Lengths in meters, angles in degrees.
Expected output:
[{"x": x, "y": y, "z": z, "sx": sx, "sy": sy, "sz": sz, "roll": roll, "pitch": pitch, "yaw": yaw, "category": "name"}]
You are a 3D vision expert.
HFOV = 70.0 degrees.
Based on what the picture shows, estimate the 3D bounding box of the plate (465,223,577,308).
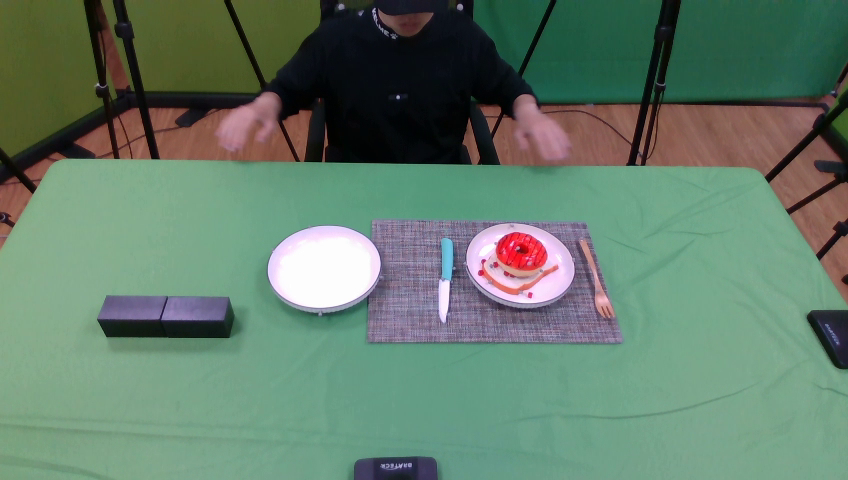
[{"x": 0.180, "y": 0.051, "z": 1.144, "sx": 0.209, "sy": 0.038, "sz": 0.208, "roll": 2, "pitch": 45, "yaw": -2, "category": "plate"}]

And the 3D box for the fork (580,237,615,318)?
[{"x": 0.325, "y": 0.067, "z": 1.150, "sx": 0.028, "sy": 0.019, "sz": 0.206, "roll": -6, "pitch": 48, "yaw": 1, "category": "fork"}]

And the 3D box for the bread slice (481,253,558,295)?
[{"x": 0.177, "y": 0.050, "z": 1.148, "sx": 0.131, "sy": 0.019, "sz": 0.104, "roll": -32, "pitch": 55, "yaw": -31, "category": "bread slice"}]

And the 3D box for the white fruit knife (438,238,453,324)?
[{"x": 0.040, "y": 0.073, "z": 1.131, "sx": 0.027, "sy": 0.016, "sz": 0.206, "roll": -17, "pitch": 44, "yaw": 21, "category": "white fruit knife"}]

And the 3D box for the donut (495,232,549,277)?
[{"x": 0.180, "y": 0.026, "z": 1.119, "sx": 0.099, "sy": 0.048, "sz": 0.098, "roll": 2, "pitch": 46, "yaw": -2, "category": "donut"}]

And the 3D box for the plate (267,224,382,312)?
[{"x": -0.182, "y": 0.055, "z": 1.120, "sx": 0.208, "sy": 0.039, "sz": 0.206, "roll": 2, "pitch": 46, "yaw": -2, "category": "plate"}]
